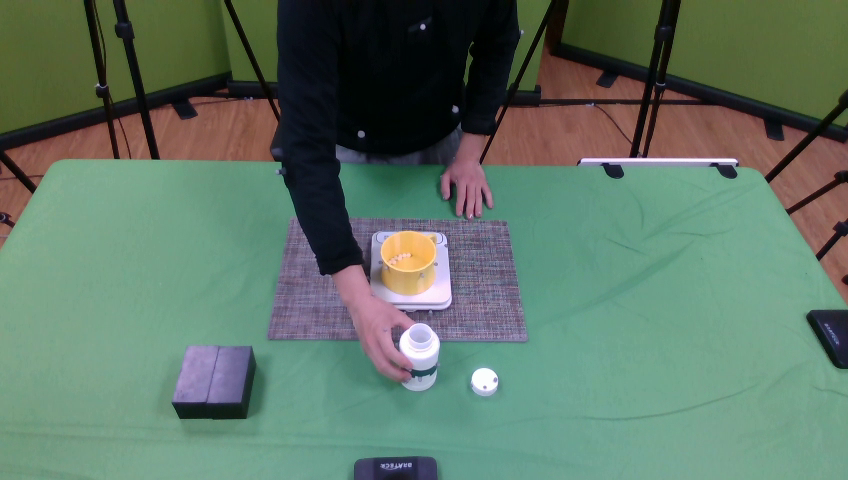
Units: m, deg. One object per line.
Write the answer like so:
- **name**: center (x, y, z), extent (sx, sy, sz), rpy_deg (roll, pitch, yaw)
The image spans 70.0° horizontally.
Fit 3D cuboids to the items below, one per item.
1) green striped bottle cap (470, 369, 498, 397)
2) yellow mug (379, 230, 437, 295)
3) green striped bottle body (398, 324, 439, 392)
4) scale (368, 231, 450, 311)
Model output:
- **green striped bottle cap**: center (0.098, 0.232, 0.988), extent (0.044, 0.020, 0.044), rpy_deg (2, 41, -1)
- **yellow mug**: center (-0.020, 0.030, 1.089), extent (0.099, 0.064, 0.130), rpy_deg (31, 51, 24)
- **green striped bottle body**: center (-0.010, 0.183, 0.955), extent (0.063, 0.120, 0.063), rpy_deg (2, 46, -2)
- **scale**: center (-0.029, 0.049, 1.136), extent (0.149, 0.032, 0.199), rpy_deg (1, 46, -4)
